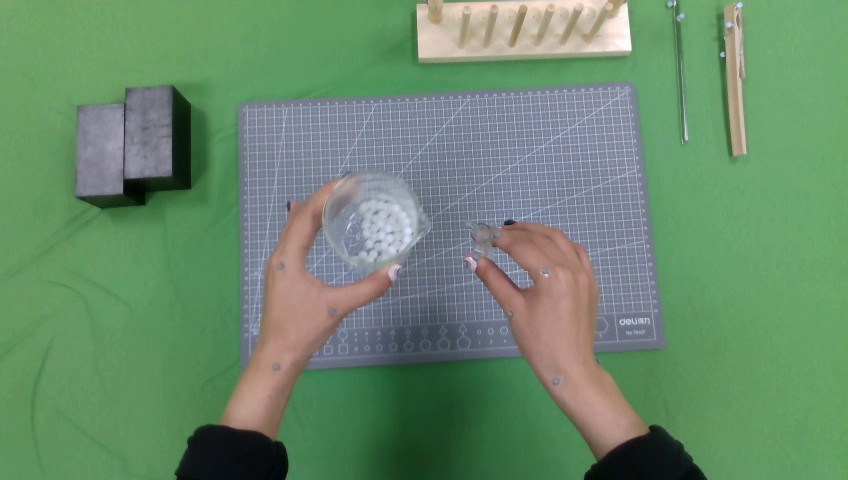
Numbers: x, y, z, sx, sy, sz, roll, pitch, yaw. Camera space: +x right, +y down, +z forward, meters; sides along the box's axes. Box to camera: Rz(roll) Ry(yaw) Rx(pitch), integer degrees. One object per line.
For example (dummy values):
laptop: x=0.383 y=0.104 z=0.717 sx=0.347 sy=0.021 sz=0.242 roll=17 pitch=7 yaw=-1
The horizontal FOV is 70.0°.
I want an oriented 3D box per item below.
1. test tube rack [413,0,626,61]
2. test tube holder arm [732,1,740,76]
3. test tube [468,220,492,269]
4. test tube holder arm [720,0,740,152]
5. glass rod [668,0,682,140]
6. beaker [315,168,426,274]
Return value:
test tube rack: x=0.109 y=-0.250 z=0.663 sx=0.242 sy=0.085 sz=0.066 roll=-2 pitch=81 yaw=-1
test tube holder arm: x=0.354 y=-0.230 z=0.696 sx=0.010 sy=0.015 sz=0.087 roll=8 pitch=79 yaw=-28
test tube: x=0.049 y=0.007 z=0.512 sx=0.017 sy=0.151 sz=0.017 roll=-1 pitch=78 yaw=7
test tube holder arm: x=0.347 y=-0.186 z=0.686 sx=0.013 sy=0.015 sz=0.177 roll=8 pitch=80 yaw=-28
glass rod: x=0.288 y=-0.211 z=0.697 sx=0.008 sy=0.008 sz=0.199 roll=1 pitch=81 yaw=0
beaker: x=-0.042 y=-0.010 z=0.502 sx=0.084 sy=0.100 sz=0.074 roll=7 pitch=81 yaw=-3
